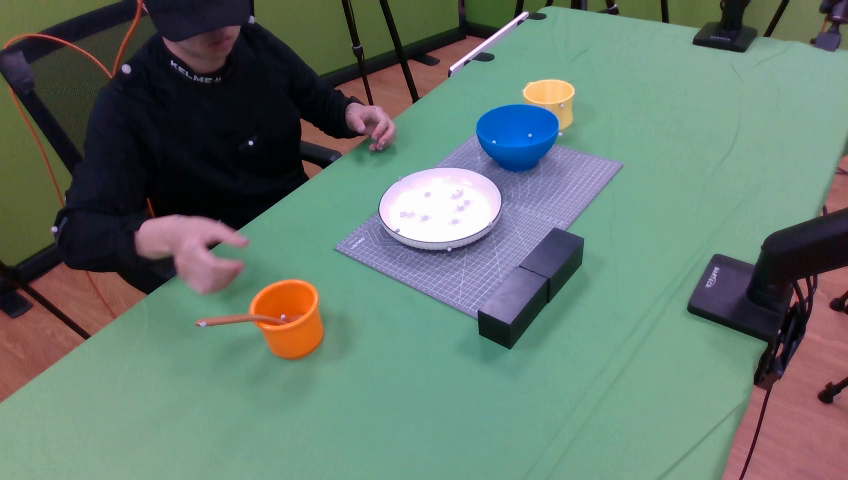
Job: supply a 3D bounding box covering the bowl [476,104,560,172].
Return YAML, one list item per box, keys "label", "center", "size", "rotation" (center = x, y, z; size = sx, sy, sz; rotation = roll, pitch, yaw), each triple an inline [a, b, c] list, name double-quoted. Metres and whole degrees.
- label: "bowl"
  center: [0.171, -0.178, 1.105]
  size: [0.151, 0.077, 0.150]
  rotation: [-4, 40, 4]

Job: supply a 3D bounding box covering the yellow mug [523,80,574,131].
- label: "yellow mug"
  center: [0.242, -0.278, 1.224]
  size: [0.100, 0.064, 0.129]
  rotation: [-24, 42, -18]

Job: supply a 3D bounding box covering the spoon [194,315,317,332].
- label: "spoon"
  center: [-0.212, 0.105, 0.780]
  size: [0.041, 0.195, 0.021]
  rotation: [19, 91, 34]

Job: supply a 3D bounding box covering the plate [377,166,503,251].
- label: "plate"
  center: [0.027, -0.050, 1.007]
  size: [0.209, 0.038, 0.208]
  rotation: [-4, 41, 4]
